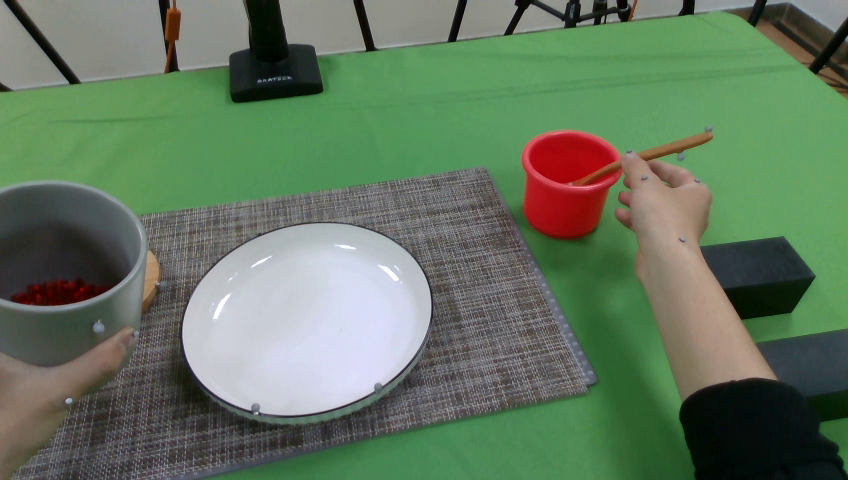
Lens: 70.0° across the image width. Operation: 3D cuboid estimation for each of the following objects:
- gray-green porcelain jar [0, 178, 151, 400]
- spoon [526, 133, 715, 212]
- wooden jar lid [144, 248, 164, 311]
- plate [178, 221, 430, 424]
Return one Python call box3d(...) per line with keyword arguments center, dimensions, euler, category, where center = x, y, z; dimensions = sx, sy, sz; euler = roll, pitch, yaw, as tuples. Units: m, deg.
box3d(center=(-0.247, 0.039, 0.409), dimensions=(0.106, 0.127, 0.105), euler=(16, 44, -16), category="gray-green porcelain jar")
box3d(center=(0.179, -0.064, 0.581), dimensions=(0.193, 0.022, 0.041), euler=(-24, 25, 44), category="spoon")
box3d(center=(-0.293, 0.043, 0.554), dimensions=(0.108, 0.021, 0.107), euler=(1, 44, 0), category="wooden jar lid")
box3d(center=(-0.098, 0.067, 0.520), dimensions=(0.208, 0.039, 0.205), euler=(0, 45, 0), category="plate")
